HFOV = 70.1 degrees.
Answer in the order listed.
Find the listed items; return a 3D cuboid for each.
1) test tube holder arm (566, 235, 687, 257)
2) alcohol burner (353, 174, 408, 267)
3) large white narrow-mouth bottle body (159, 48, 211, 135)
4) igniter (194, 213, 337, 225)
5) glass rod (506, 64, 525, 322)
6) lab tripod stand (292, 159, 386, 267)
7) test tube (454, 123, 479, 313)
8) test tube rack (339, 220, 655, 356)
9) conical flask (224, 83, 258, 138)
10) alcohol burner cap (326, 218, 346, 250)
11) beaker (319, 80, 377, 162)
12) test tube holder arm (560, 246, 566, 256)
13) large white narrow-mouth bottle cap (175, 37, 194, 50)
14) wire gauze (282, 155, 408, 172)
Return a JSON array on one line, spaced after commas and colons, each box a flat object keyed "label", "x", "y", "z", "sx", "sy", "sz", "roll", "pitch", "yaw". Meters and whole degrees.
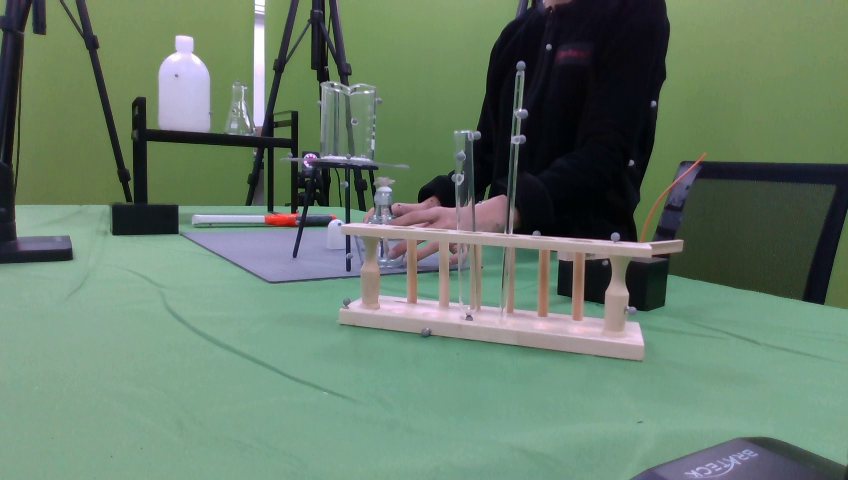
[{"label": "test tube holder arm", "x": 0.215, "y": 0.006, "z": 0.630, "sx": 0.179, "sy": 0.015, "sz": 0.013, "roll": -3, "pitch": 10, "yaw": -30}, {"label": "alcohol burner", "x": -0.054, "y": -0.026, "z": 0.786, "sx": 0.078, "sy": 0.119, "sz": 0.078, "roll": 0, "pitch": 6, "yaw": 0}, {"label": "large white narrow-mouth bottle body", "x": -0.503, "y": -0.322, "z": 1.275, "sx": 0.102, "sy": 0.194, "sz": 0.102, "roll": 2, "pitch": 7, "yaw": 0}, {"label": "igniter", "x": -0.306, "y": -0.042, "z": 1.196, "sx": 0.278, "sy": 0.025, "sz": 0.057, "roll": -2, "pitch": -2, "yaw": -31}, {"label": "glass rod", "x": 0.069, "y": -0.030, "z": 0.458, "sx": 0.008, "sy": 0.199, "sz": 0.008, "roll": 0, "pitch": 15, "yaw": 0}, {"label": "lab tripod stand", "x": -0.105, "y": -0.039, "z": 0.798, "sx": 0.148, "sy": 0.131, "sz": 0.148, "roll": 2, "pitch": 5, "yaw": 0}, {"label": "test tube", "x": 0.034, "y": -0.016, "z": 0.477, "sx": 0.017, "sy": 0.150, "sz": 0.017, "roll": -2, "pitch": 9, "yaw": 1}, {"label": "test tube rack", "x": 0.056, "y": 0.032, "z": 0.495, "sx": 0.242, "sy": 0.085, "sz": 0.067, "roll": 4, "pitch": 7, "yaw": 15}, {"label": "conical flask", "x": -0.422, "y": -0.299, "z": 1.395, "sx": 0.075, "sy": 0.122, "sz": 0.075, "roll": 2, "pitch": 7, "yaw": 0}, {"label": "alcohol burner cap", "x": -0.133, "y": -0.010, "z": 0.927, "sx": 0.034, "sy": 0.048, "sz": 0.034, "roll": 6, "pitch": 7, "yaw": 0}, {"label": "beaker", "x": -0.098, "y": -0.150, "z": 0.777, "sx": 0.074, "sy": 0.100, "sz": 0.084, "roll": 1, "pitch": 7, "yaw": -7}, {"label": "test tube holder arm", "x": 0.173, "y": 0.007, "z": 0.611, "sx": 0.088, "sy": 0.015, "sz": 0.010, "roll": -3, "pitch": 9, "yaw": -30}, {"label": "large white narrow-mouth bottle cap", "x": -0.501, "y": -0.409, "z": 1.264, "sx": 0.038, "sy": 0.024, "sz": 0.037, "roll": 2, "pitch": 7, "yaw": 0}, {"label": "wire gauze", "x": -0.104, "y": -0.103, "z": 0.785, "sx": 0.126, "sy": 0.011, "sz": 0.121, "roll": 1, "pitch": 8, "yaw": -39}]
